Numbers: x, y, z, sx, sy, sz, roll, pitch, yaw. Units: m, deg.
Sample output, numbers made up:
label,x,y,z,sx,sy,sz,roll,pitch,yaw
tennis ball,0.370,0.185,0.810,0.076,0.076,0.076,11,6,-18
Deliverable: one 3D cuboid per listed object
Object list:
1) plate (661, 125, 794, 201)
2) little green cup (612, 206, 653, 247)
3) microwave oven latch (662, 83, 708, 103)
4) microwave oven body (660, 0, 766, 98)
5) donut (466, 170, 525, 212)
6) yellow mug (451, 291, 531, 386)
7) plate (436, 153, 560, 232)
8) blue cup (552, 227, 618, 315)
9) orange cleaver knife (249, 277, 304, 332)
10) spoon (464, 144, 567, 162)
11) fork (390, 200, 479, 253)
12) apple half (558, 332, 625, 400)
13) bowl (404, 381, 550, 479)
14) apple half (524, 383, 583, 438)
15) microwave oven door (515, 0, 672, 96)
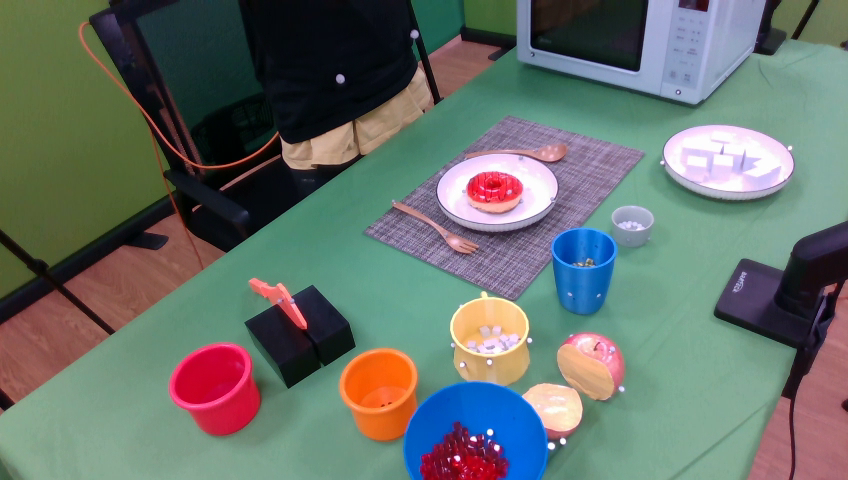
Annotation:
label,x,y,z,sx,sy,sz,roll,pitch,yaw
plate,0.513,-0.128,1.035,0.207,0.039,0.206,-4,40,4
little green cup,0.321,-0.019,0.936,0.061,0.039,0.061,-4,41,4
microwave oven latch,0.517,-0.296,1.204,0.078,0.029,0.030,27,52,35
microwave oven body,0.472,-0.513,1.317,0.438,0.261,0.327,26,51,34
donut,0.121,-0.083,1.019,0.099,0.048,0.098,-4,38,4
yellow mug,0.086,0.120,0.786,0.100,0.064,0.130,-7,39,1
plate,0.125,-0.078,1.029,0.209,0.038,0.208,-4,40,4
blue cup,0.218,0.047,0.825,0.092,0.100,0.092,-6,39,5
orange cleaver knife,-0.210,0.089,0.855,0.012,0.077,0.210,-27,14,-25
spoon,0.170,-0.163,1.135,0.193,0.022,0.041,1,60,10
fork,0.011,-0.025,0.998,0.028,0.019,0.205,-40,51,-22
apple half,0.209,0.147,0.731,0.080,0.075,0.053,25,46,38
bowl,0.058,0.235,0.645,0.151,0.077,0.150,-4,39,4
apple half,0.149,0.204,0.704,0.081,0.033,0.081,-11,25,5
microwave oven door,0.343,-0.454,1.259,0.353,0.245,0.039,26,51,33
